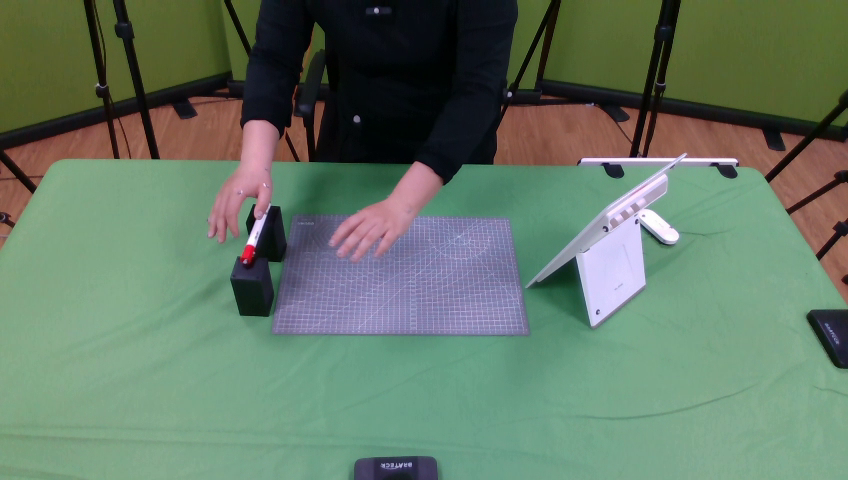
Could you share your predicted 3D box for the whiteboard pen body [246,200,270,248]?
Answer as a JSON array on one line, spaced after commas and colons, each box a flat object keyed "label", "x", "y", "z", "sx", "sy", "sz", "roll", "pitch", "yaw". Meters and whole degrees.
[{"label": "whiteboard pen body", "x": -0.293, "y": -0.020, "z": 1.060, "sx": 0.017, "sy": 0.017, "sz": 0.140, "roll": 5, "pitch": 46, "yaw": 1}]

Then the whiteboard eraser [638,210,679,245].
[{"label": "whiteboard eraser", "x": 0.485, "y": -0.027, "z": 1.260, "sx": 0.041, "sy": 0.019, "sz": 0.100, "roll": -20, "pitch": 50, "yaw": -22}]

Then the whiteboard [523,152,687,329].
[{"label": "whiteboard", "x": 0.346, "y": 0.024, "z": 1.047, "sx": 0.217, "sy": 0.306, "sz": 0.143, "roll": -30, "pitch": 74, "yaw": -29}]

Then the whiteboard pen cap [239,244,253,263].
[{"label": "whiteboard pen cap", "x": -0.298, "y": 0.022, "z": 1.016, "sx": 0.017, "sy": 0.017, "sz": 0.032, "roll": 6, "pitch": 45, "yaw": 2}]
